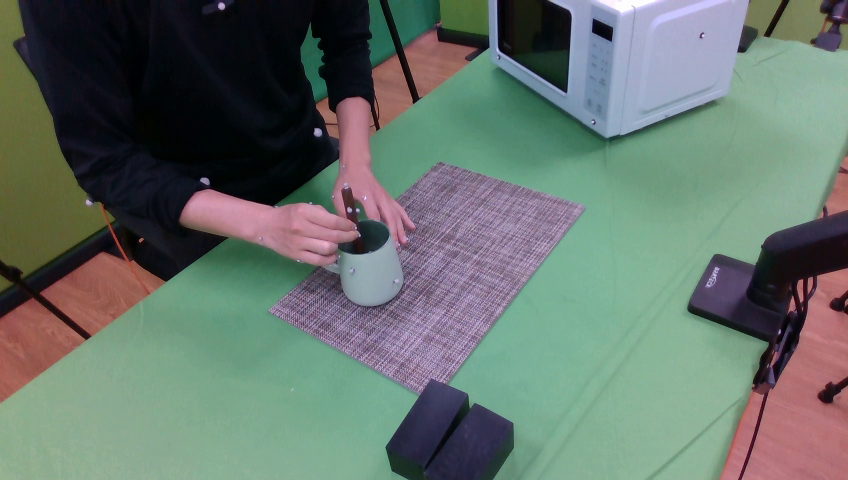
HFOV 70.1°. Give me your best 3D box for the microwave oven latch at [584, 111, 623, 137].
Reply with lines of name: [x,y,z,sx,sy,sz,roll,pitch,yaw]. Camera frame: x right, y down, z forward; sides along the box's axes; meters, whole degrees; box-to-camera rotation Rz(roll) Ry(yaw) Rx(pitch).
microwave oven latch: [0.337,-0.222,1.142,0.030,0.029,0.078,-21,42,-14]

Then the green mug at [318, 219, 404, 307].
green mug: [-0.095,0.032,0.876,0.125,0.105,0.092,8,43,17]

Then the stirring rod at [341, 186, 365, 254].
stirring rod: [-0.092,-0.003,0.825,0.014,0.177,0.005,-22,46,-16]

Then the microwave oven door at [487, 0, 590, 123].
microwave oven door: [0.232,-0.420,1.230,0.039,0.245,0.352,-22,43,-16]

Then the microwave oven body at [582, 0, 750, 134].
microwave oven body: [0.382,-0.445,1.246,0.327,0.261,0.437,-22,42,-16]
